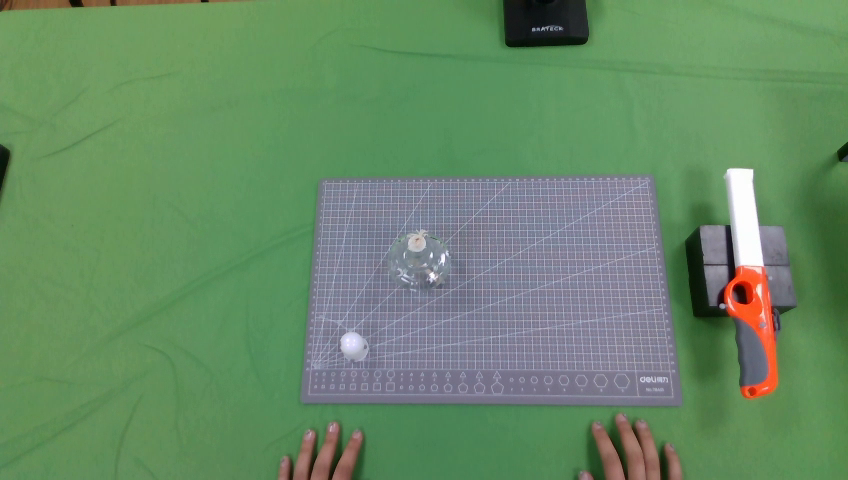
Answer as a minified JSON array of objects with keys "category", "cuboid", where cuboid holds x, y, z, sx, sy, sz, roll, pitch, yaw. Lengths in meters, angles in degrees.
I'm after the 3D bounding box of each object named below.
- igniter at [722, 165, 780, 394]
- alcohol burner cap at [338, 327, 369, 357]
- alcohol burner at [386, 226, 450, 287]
[{"category":"igniter","cuboid":[0.371,0.038,0.696,0.057,0.025,0.274,3,69,7]},{"category":"alcohol burner cap","cuboid":[-0.086,0.121,0.726,0.034,0.048,0.033,-1,70,4]},{"category":"alcohol burner","cuboid":[-0.007,0.014,0.722,0.078,0.120,0.077,0,69,1]}]
